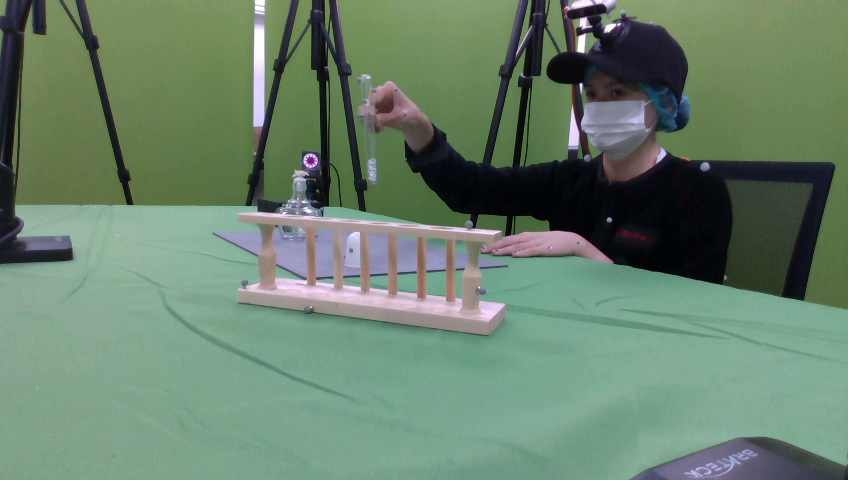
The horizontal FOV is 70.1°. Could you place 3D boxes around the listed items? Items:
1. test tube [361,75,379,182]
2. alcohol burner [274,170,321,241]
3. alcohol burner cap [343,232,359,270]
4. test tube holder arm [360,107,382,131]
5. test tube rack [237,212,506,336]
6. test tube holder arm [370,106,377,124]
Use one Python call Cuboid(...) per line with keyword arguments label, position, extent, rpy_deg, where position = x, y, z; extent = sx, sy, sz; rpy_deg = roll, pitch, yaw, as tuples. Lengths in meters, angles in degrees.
Cuboid(label="test tube", position=(-0.076, -0.158, 0.856), extent=(0.017, 0.150, 0.017), rpy_deg=(-3, 3, 1))
Cuboid(label="alcohol burner", position=(-0.212, -0.058, 1.015), extent=(0.078, 0.119, 0.078), rpy_deg=(4, 5, 0))
Cuboid(label="alcohol burner cap", position=(-0.087, 0.013, 0.776), extent=(0.034, 0.048, 0.034), rpy_deg=(3, 7, 0))
Cuboid(label="test tube holder arm", position=(-0.080, -0.184, 0.922), extent=(0.013, 0.015, 0.178), rpy_deg=(1, 4, 1))
Cuboid(label="test tube rack", position=(-0.049, 0.024, 0.552), extent=(0.242, 0.085, 0.067), rpy_deg=(5, 8, 18))
Cuboid(label="test tube holder arm", position=(-0.073, -0.181, 0.878), extent=(0.010, 0.015, 0.087), rpy_deg=(0, 4, -6))
